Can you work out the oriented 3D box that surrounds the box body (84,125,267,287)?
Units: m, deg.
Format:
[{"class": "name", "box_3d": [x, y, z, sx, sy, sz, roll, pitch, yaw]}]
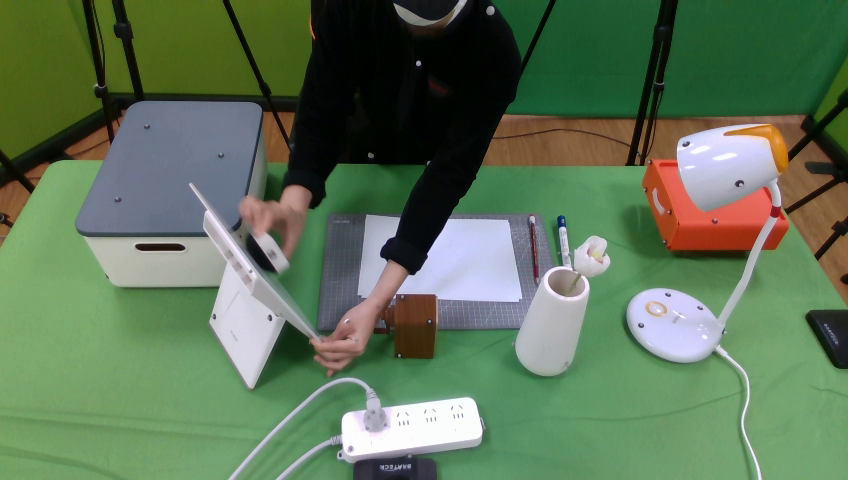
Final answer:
[{"class": "box body", "box_3d": [-0.446, -0.088, 1.150, 0.254, 0.161, 0.361, 0, 46, -5]}]

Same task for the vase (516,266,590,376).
[{"class": "vase", "box_3d": [0.208, 0.132, 0.964, 0.098, 0.201, 0.097, 3, 46, -3]}]

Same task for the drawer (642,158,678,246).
[{"class": "drawer", "box_3d": [0.566, -0.076, 1.211, 0.212, 0.073, 0.193, 2, 45, -2]}]

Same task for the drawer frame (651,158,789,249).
[{"class": "drawer frame", "box_3d": [0.571, -0.075, 1.214, 0.214, 0.083, 0.200, 0, 46, -1]}]

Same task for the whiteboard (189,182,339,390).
[{"class": "whiteboard", "box_3d": [-0.292, 0.096, 0.929, 0.144, 0.307, 0.216, -37, 57, -10]}]

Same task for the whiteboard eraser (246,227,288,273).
[{"class": "whiteboard eraser", "box_3d": [-0.245, 0.016, 0.935, 0.042, 0.056, 0.112, -36, 21, -12]}]

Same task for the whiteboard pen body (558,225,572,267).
[{"class": "whiteboard pen body", "box_3d": [0.280, 0.010, 1.207, 0.017, 0.017, 0.140, 3, 50, -1]}]

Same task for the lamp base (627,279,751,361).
[{"class": "lamp base", "box_3d": [0.459, 0.100, 1.027, 0.178, 0.181, 0.160, 27, 51, 17]}]

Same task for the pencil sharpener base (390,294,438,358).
[{"class": "pencil sharpener base", "box_3d": [-0.018, 0.143, 1.000, 0.077, 0.107, 0.061, 1, 46, -2]}]

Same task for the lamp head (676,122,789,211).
[{"class": "lamp head", "box_3d": [0.423, -0.104, 0.819, 0.122, 0.113, 0.112, -13, 33, 40]}]

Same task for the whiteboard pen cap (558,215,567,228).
[{"class": "whiteboard pen cap", "box_3d": [0.284, -0.035, 1.245, 0.018, 0.018, 0.033, 4, 52, -1]}]

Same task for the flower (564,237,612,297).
[{"class": "flower", "box_3d": [0.206, 0.088, 0.893, 0.038, 0.363, 0.044, -17, 67, -9]}]

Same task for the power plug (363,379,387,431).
[{"class": "power plug", "box_3d": [-0.072, 0.252, 0.910, 0.035, 0.053, 0.072, 3, 45, -1]}]

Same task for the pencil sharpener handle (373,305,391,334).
[{"class": "pencil sharpener handle", "box_3d": [-0.068, 0.133, 0.989, 0.030, 0.068, 0.036, 1, 47, -2]}]

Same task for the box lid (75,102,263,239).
[{"class": "box lid", "box_3d": [-0.443, -0.138, 1.094, 0.263, 0.015, 0.369, -1, 47, -5]}]

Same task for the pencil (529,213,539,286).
[{"class": "pencil", "box_3d": [0.219, 0.016, 1.204, 0.012, 0.012, 0.193, 5, 47, 0]}]

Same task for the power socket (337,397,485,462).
[{"class": "power socket", "box_3d": [-0.018, 0.285, 0.915, 0.227, 0.033, 0.071, -5, 46, -8]}]
